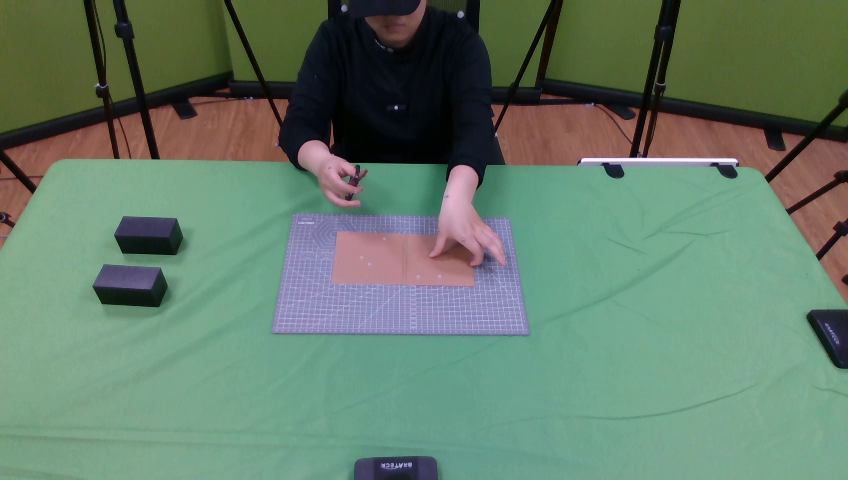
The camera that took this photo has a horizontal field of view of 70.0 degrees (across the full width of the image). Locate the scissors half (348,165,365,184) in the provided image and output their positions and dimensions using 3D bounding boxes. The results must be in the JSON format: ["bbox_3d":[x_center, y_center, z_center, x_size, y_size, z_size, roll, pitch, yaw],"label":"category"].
[{"bbox_3d":[-0.125,-0.126,1.145,0.013,0.175,0.040,14,88,-14],"label":"scissors half"}]

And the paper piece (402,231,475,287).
[{"bbox_3d":[0.026,0.037,1.171,0.138,0.009,0.135,3,49,-3],"label":"paper piece"}]

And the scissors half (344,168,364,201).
[{"bbox_3d":[-0.131,-0.107,1.141,0.013,0.175,0.040,20,72,-12],"label":"scissors half"}]

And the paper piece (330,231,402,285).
[{"bbox_3d":[-0.108,0.033,1.163,0.135,0.004,0.135,2,46,-3],"label":"paper piece"}]
